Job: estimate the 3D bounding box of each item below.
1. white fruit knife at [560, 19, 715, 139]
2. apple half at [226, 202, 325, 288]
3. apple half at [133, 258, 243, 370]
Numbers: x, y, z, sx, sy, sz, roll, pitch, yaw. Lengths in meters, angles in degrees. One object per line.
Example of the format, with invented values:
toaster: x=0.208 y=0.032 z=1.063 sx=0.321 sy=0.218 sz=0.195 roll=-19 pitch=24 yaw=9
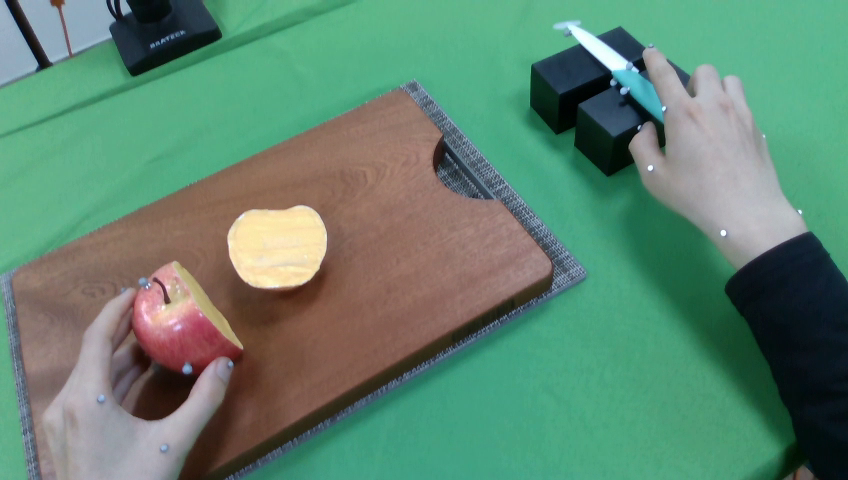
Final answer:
white fruit knife: x=0.179 y=-0.151 z=0.543 sx=0.027 sy=0.016 sz=0.205 roll=-18 pitch=50 yaw=-15
apple half: x=-0.118 y=0.009 z=0.491 sx=0.081 sy=0.033 sz=0.080 roll=2 pitch=63 yaw=-4
apple half: x=-0.175 y=0.062 z=0.439 sx=0.053 sy=0.075 sz=0.080 roll=-38 pitch=62 yaw=-12
